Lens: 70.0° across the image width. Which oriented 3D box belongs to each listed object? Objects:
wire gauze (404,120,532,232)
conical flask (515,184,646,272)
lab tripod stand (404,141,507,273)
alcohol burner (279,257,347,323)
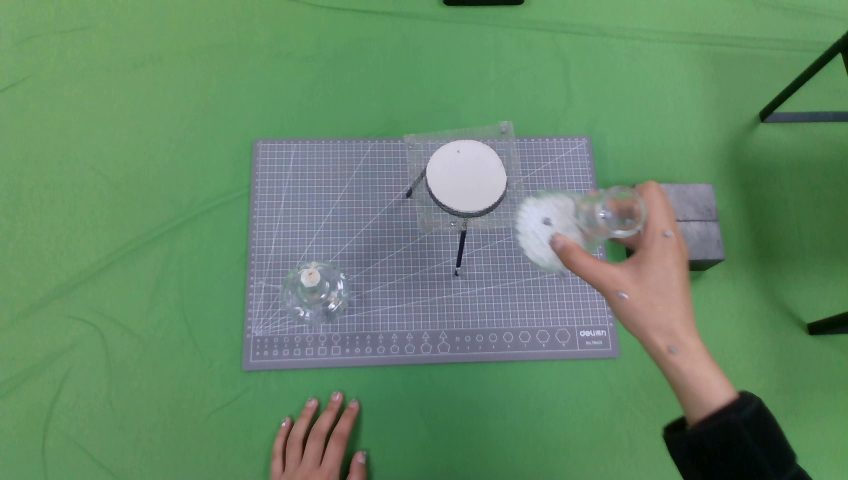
[{"bbox_3d":[0.046,-0.069,0.649,0.125,0.011,0.120,-6,73,-6],"label":"wire gauze"},{"bbox_3d":[0.128,-0.015,0.489,0.075,0.122,0.075,2,83,-14],"label":"conical flask"},{"bbox_3d":[0.044,-0.050,0.713,0.148,0.132,0.147,1,71,-3],"label":"lab tripod stand"},{"bbox_3d":[-0.126,0.052,0.680,0.078,0.119,0.077,2,70,-5],"label":"alcohol burner"}]
